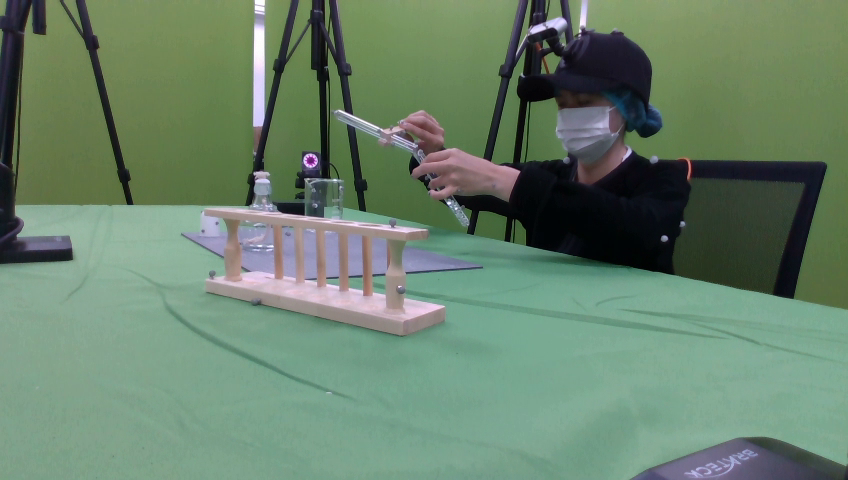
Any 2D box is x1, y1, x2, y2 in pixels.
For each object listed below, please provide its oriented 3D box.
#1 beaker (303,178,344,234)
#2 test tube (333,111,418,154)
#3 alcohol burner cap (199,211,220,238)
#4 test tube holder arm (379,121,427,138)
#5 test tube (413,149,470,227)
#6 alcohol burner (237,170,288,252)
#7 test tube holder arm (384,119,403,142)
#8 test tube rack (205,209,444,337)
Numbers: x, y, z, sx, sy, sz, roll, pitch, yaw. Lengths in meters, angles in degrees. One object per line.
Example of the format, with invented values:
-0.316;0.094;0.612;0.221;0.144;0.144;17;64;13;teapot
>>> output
-0.189;-0.063;1.119;0.073;0.100;0.084;6;9;28;beaker
-0.080;-0.177;0.990;0.150;0.017;0.017;25;10;5;test tube
-0.356;-0.027;1.002;0.034;0.048;0.034;3;7;0;alcohol burner cap
-0.032;-0.192;1.047;0.015;0.013;0.179;27;25;14;test tube holder arm
0.029;-0.084;0.985;0.017;0.150;0.017;-35;1;1;test tube
-0.236;-0.042;0.882;0.078;0.119;0.078;2;9;0;alcohol burner
-0.049;-0.180;1.006;0.015;0.010;0.088;29;0;13;test tube holder arm
-0.100;0.021;0.565;0.241;0.085;0.067;7;8;32;test tube rack
